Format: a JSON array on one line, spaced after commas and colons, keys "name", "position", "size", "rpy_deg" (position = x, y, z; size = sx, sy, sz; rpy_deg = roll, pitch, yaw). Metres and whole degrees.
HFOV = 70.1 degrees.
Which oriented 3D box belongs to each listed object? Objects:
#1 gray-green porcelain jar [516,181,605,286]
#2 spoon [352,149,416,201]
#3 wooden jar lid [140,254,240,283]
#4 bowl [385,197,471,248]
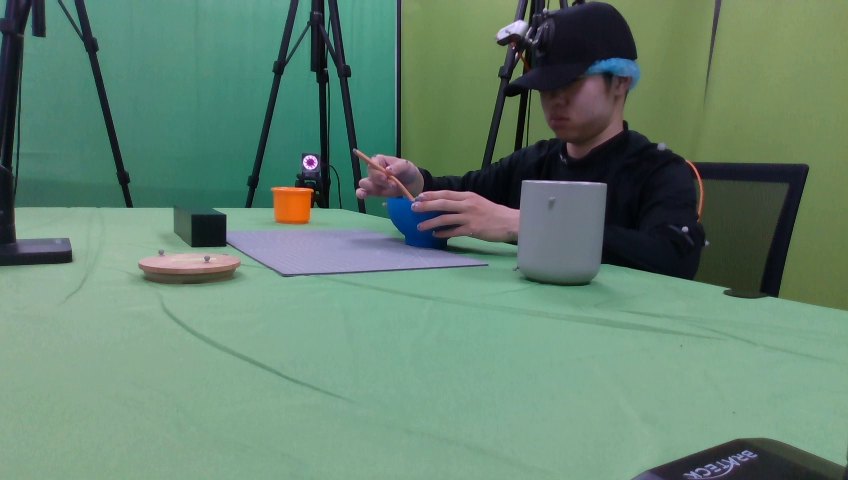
[{"name": "gray-green porcelain jar", "position": [0.172, -0.010, 0.768], "size": [0.106, 0.126, 0.106], "rpy_deg": [2, 7, 0]}, {"name": "spoon", "position": [-0.048, -0.096, 1.047], "size": [0.193, 0.021, 0.042], "rpy_deg": [43, 15, 2]}, {"name": "wooden jar lid", "position": [-0.269, 0.032, 0.698], "size": [0.108, 0.020, 0.108], "rpy_deg": [2, 5, 0]}, {"name": "bowl", "position": [0.004, -0.030, 1.045], "size": [0.151, 0.077, 0.151], "rpy_deg": [5, 6, 0]}]
